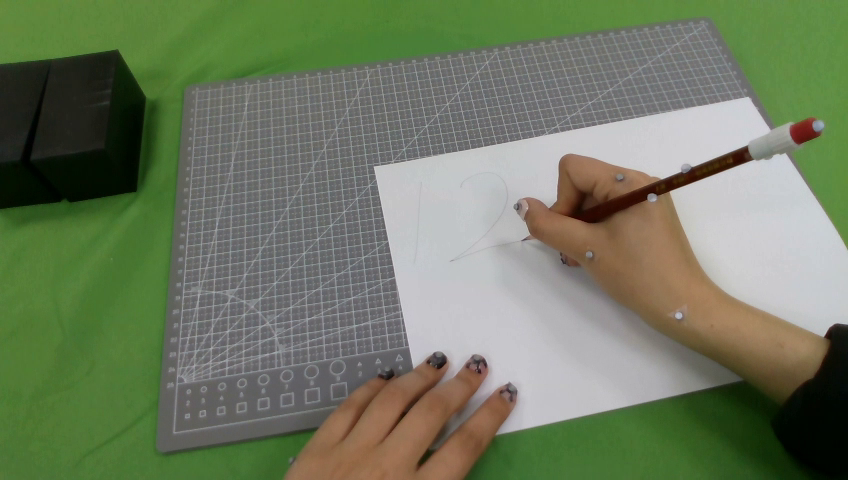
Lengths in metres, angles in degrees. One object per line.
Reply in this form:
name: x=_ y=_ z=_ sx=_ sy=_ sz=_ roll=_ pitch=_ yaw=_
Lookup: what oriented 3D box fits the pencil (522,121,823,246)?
pencil: x=0.117 y=-0.021 z=0.334 sx=0.012 sy=0.194 sz=0.012 roll=10 pitch=70 yaw=-29
